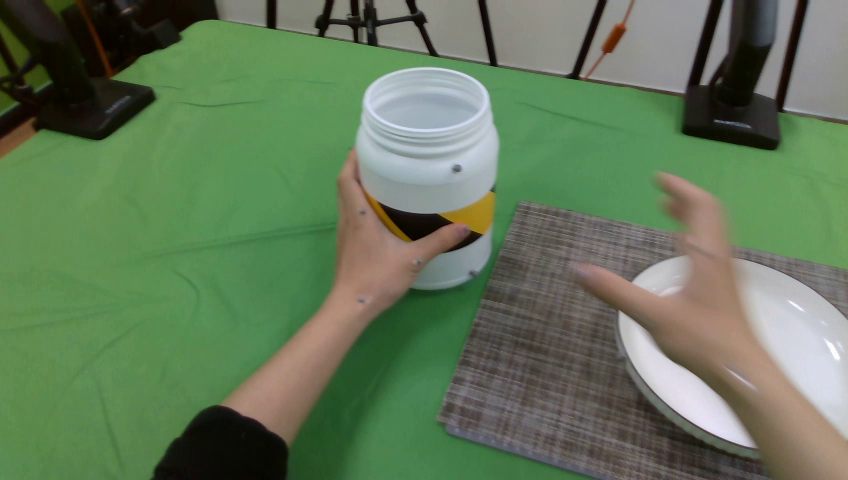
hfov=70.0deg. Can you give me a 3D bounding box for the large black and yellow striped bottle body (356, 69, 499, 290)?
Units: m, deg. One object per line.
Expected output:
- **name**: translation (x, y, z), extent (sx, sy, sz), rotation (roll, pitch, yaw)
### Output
- **large black and yellow striped bottle body**: translation (0.004, -0.056, 0.582), extent (0.131, 0.185, 0.129), rotation (0, 44, 1)

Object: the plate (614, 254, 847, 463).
- **plate**: translation (0.267, 0.097, 0.521), extent (0.208, 0.039, 0.205), rotation (0, 44, 0)
